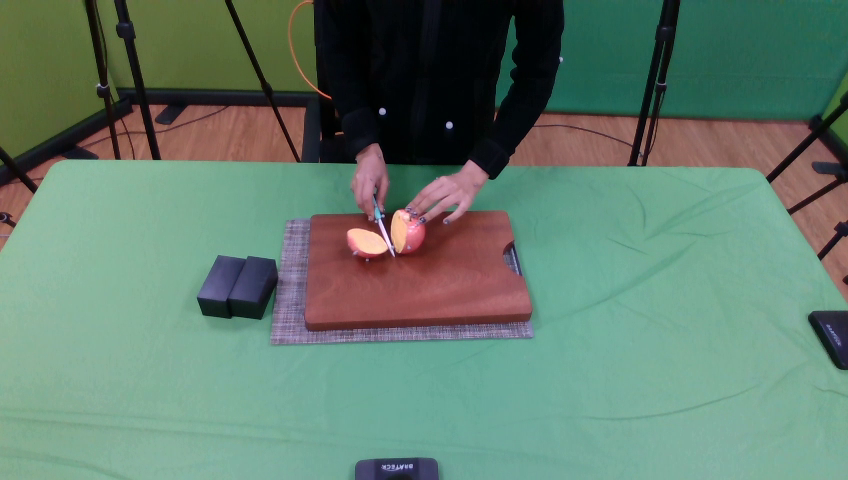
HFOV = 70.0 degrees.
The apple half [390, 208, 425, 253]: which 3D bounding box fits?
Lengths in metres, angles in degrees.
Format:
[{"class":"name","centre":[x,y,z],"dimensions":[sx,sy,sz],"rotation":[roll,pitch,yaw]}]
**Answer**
[{"class":"apple half","centre":[-0.027,-0.016,1.136],"dimensions":[0.053,0.075,0.080],"rotation":[1,39,-25]}]

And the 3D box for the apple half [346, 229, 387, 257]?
[{"class":"apple half","centre":[-0.110,0.012,1.131],"dimensions":[0.081,0.033,0.081],"rotation":[19,27,-10]}]

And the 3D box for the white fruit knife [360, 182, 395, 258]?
[{"class":"white fruit knife","centre":[-0.088,-0.043,1.168],"dimensions":[0.016,0.027,0.206],"rotation":[-13,51,-17]}]
